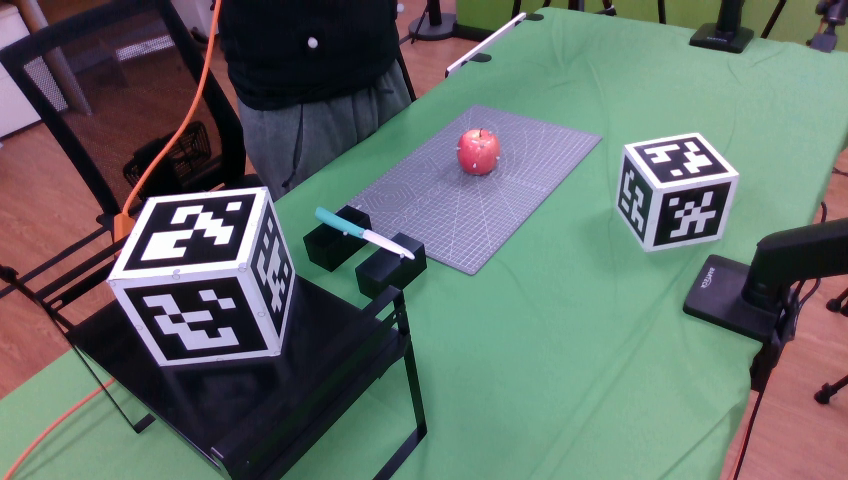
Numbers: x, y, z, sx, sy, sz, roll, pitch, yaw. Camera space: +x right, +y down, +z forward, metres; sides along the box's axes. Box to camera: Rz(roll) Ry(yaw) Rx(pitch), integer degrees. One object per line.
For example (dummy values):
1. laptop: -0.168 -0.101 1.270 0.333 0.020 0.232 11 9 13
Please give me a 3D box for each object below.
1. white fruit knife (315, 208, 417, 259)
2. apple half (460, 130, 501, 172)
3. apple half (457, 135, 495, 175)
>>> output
1. white fruit knife: -0.094 -0.010 0.925 0.206 0.016 0.027 23 40 30
2. apple half: 0.109 -0.166 1.106 0.080 0.075 0.053 18 42 33
3. apple half: 0.086 -0.145 1.083 0.080 0.081 0.033 22 44 30
